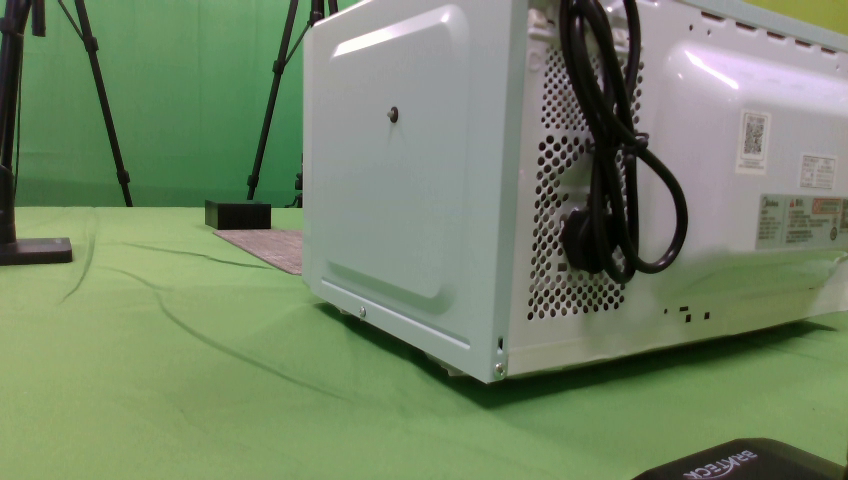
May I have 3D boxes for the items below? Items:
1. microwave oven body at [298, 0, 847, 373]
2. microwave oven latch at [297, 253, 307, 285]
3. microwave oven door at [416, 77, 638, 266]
[{"bbox_3d":[0.151,-0.055,0.543,0.444,0.260,0.324,-1,7,-33],"label":"microwave oven body"},{"bbox_3d":[-0.082,0.027,0.582,0.079,0.029,0.030,-1,7,-32],"label":"microwave oven latch"},{"bbox_3d":[0.131,-0.105,0.891,0.354,0.243,0.039,9,10,42],"label":"microwave oven door"}]
